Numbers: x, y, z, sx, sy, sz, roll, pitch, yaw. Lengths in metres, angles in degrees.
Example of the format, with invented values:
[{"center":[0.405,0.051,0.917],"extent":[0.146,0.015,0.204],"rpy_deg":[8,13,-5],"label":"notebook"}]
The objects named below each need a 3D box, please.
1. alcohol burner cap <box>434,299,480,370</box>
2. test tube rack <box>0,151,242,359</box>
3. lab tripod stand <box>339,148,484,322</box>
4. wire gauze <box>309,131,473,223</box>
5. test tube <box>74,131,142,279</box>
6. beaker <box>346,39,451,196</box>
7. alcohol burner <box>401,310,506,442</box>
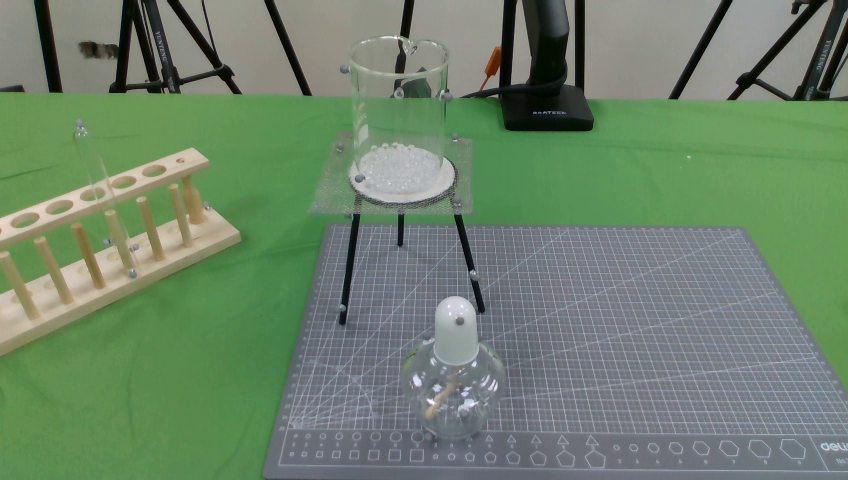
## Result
[{"center":[0.022,0.061,0.410],"extent":[0.034,0.048,0.033],"rpy_deg":[-2,38,2],"label":"alcohol burner cap"},{"center":[-0.301,0.007,0.561],"extent":[0.242,0.086,0.066],"rpy_deg":[-30,47,-32],"label":"test tube rack"},{"center":[-0.013,-0.002,0.531],"extent":[0.148,0.132,0.147],"rpy_deg":[1,38,-1],"label":"lab tripod stand"},{"center":[-0.021,-0.053,0.488],"extent":[0.121,0.011,0.124],"rpy_deg":[2,41,2],"label":"wire gauze"},{"center":[-0.276,-0.026,0.532],"extent":[0.017,0.151,0.017],"rpy_deg":[1,37,0],"label":"test tube"},{"center":[-0.019,-0.092,0.460],"extent":[0.074,0.101,0.083],"rpy_deg":[8,39,7],"label":"beaker"},{"center":[0.021,0.089,0.432],"extent":[0.078,0.120,0.077],"rpy_deg":[1,40,0],"label":"alcohol burner"}]
